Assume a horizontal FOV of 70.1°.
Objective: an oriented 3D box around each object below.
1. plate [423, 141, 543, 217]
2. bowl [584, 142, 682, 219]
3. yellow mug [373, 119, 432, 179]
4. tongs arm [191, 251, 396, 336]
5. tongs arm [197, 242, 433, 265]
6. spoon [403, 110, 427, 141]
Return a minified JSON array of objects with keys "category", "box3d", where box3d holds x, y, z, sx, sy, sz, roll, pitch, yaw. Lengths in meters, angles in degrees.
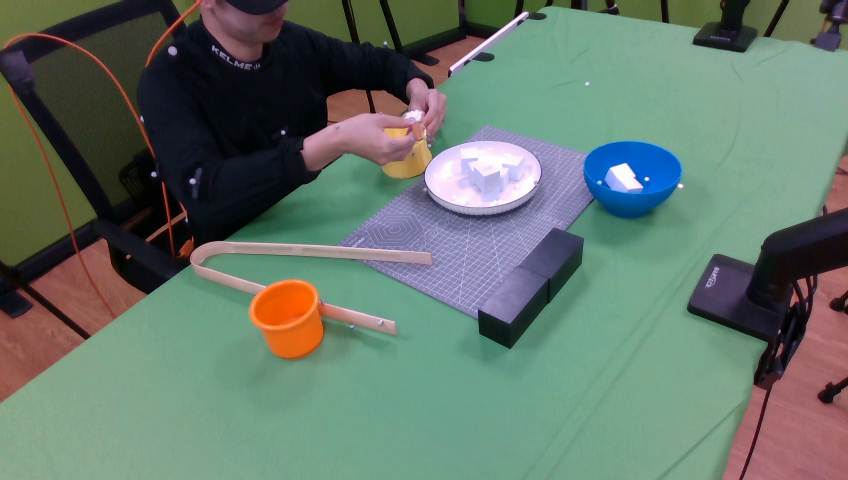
[{"category":"plate","box3d":[0.103,-0.104,1.059,0.207,0.039,0.206,-4,41,4]},{"category":"bowl","box3d":[0.333,-0.087,0.980,0.151,0.077,0.150,-4,40,3]},{"category":"yellow mug","box3d":[-0.030,-0.182,1.140,0.099,0.064,0.131,25,57,30]},{"category":"tongs arm","box3d":[-0.204,0.074,0.902,0.382,0.026,0.051,11,44,22]},{"category":"tongs arm","box3d":[-0.176,0.024,0.960,0.386,0.028,0.028,2,45,12]},{"category":"spoon","box3d":[-0.013,-0.191,1.004,0.041,0.022,0.193,-5,20,-1]}]
